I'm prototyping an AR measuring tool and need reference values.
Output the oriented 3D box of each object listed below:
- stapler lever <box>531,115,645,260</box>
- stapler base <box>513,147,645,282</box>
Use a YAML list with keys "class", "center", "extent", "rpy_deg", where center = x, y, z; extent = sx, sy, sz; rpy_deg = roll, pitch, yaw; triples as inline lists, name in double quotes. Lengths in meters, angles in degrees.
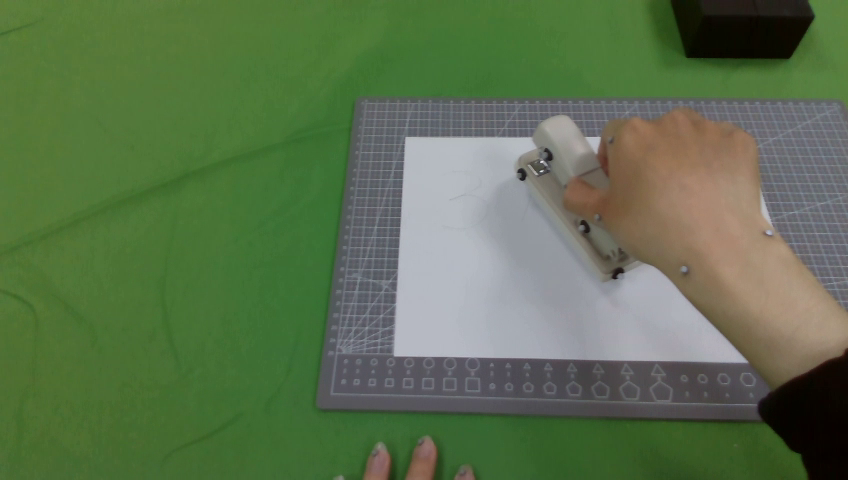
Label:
- class: "stapler lever"
  center: [0.118, -0.042, 0.440]
  extent: [0.027, 0.040, 0.117]
  rpy_deg: [-25, 63, -13]
- class: "stapler base"
  center: [0.116, -0.030, 0.462]
  extent: [0.041, 0.024, 0.129]
  rpy_deg: [-25, 62, -13]
